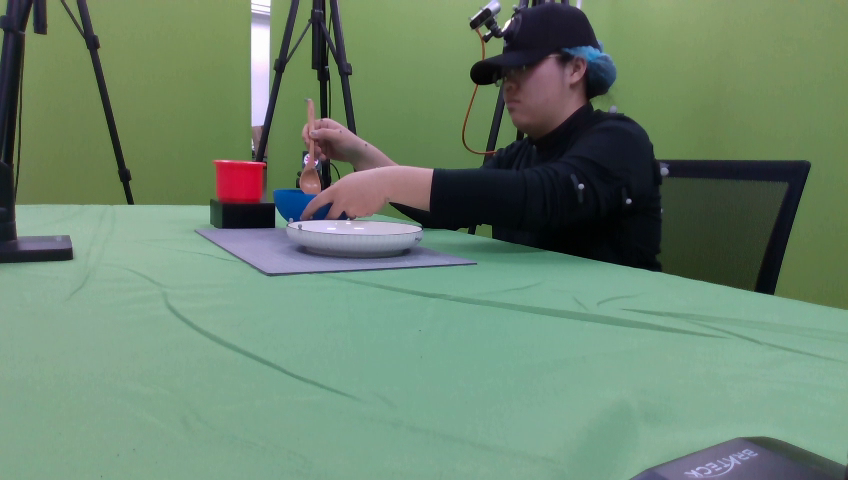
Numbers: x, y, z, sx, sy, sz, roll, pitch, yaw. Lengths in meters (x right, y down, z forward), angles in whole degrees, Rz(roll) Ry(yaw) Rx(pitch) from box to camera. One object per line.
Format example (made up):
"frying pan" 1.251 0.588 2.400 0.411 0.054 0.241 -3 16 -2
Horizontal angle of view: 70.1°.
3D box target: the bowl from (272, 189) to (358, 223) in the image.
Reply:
"bowl" -0.196 -0.049 1.086 0.151 0.077 0.151 3 8 0

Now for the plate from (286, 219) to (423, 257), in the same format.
"plate" -0.105 -0.004 0.923 0.208 0.039 0.207 3 7 0

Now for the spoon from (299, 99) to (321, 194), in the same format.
"spoon" -0.211 -0.174 1.130 0.042 0.193 0.021 5 -10 -26
